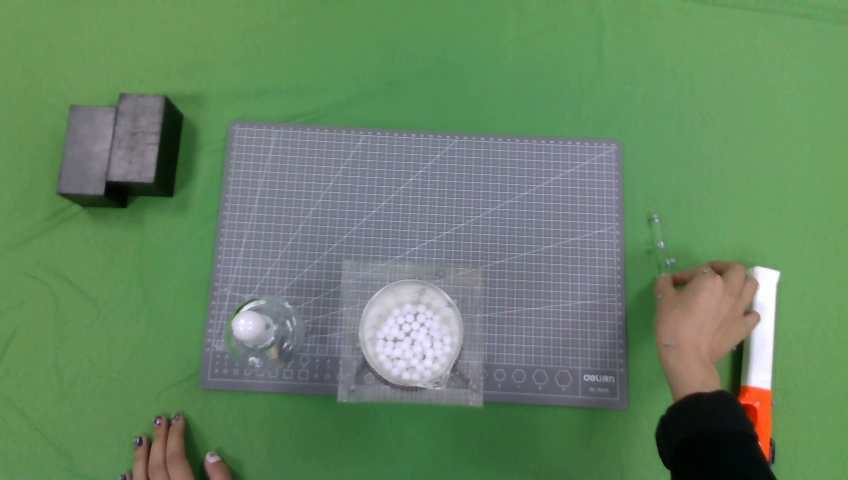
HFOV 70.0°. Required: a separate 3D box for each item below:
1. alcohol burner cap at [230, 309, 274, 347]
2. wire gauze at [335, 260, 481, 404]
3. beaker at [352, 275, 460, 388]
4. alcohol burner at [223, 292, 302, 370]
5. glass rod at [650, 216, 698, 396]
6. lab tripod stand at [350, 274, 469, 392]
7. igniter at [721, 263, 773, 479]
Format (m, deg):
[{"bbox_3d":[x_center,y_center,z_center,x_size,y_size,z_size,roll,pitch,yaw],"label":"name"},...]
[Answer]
[{"bbox_3d":[-0.161,0.080,0.557,0.034,0.048,0.033,0,73,1],"label":"alcohol burner cap"},{"bbox_3d":[-0.013,0.077,0.520,0.125,0.011,0.121,2,76,1],"label":"wire gauze"},{"bbox_3d":[-0.010,0.077,0.471,0.074,0.100,0.083,-29,79,-7],"label":"beaker"},{"bbox_3d":[-0.162,0.087,0.592,0.078,0.119,0.077,0,76,-1],"label":"alcohol burner"},{"bbox_3d":[0.271,0.069,0.659,0.008,0.008,0.199,-9,79,-3],"label":"glass rod"},{"bbox_3d":[-0.015,0.095,0.584,0.148,0.132,0.147,0,77,1],"label":"lab tripod stand"},{"bbox_3d":[0.340,0.161,0.634,0.057,0.025,0.275,12,78,-9],"label":"igniter"}]
